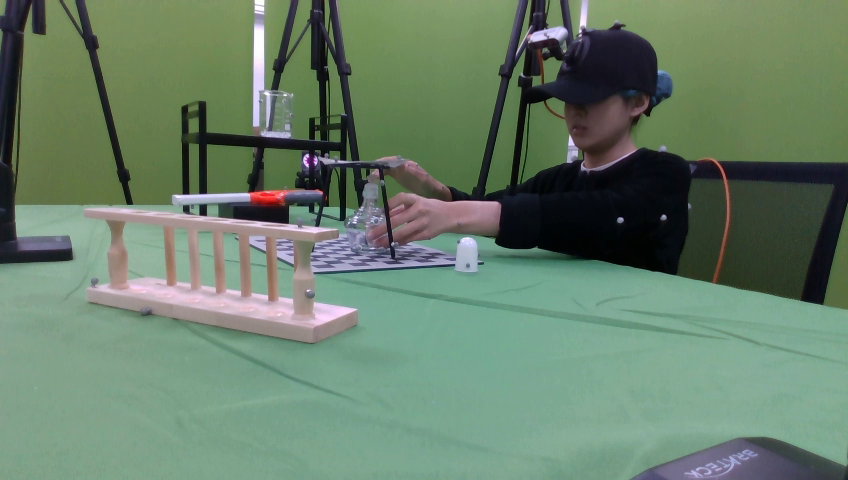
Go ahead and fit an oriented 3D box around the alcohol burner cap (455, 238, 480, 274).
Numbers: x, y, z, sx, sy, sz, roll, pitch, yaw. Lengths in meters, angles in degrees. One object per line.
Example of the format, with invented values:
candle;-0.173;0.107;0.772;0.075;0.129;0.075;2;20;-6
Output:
alcohol burner cap;0.058;0.022;0.798;0.034;0.048;0.034;3;6;0

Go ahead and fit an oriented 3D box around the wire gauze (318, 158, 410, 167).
wire gauze;-0.090;-0.114;0.888;0.122;0.011;0.124;0;6;-15

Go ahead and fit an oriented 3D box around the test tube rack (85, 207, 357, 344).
test tube rack;-0.177;0.022;0.518;0.241;0.085;0.067;6;7;23

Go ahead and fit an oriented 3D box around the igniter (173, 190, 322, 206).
igniter;-0.317;-0.079;1.128;0.278;0.025;0.057;-4;13;-32

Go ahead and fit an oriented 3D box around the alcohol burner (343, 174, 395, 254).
alcohol burner;-0.081;-0.038;0.903;0.078;0.119;0.078;4;9;0

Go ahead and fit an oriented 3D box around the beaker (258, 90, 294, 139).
beaker;-0.324;-0.274;1.331;0.083;0.100;0.074;7;9;24

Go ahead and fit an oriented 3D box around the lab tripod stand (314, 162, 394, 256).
lab tripod stand;-0.098;-0.048;0.897;0.148;0.131;0.148;1;5;0
